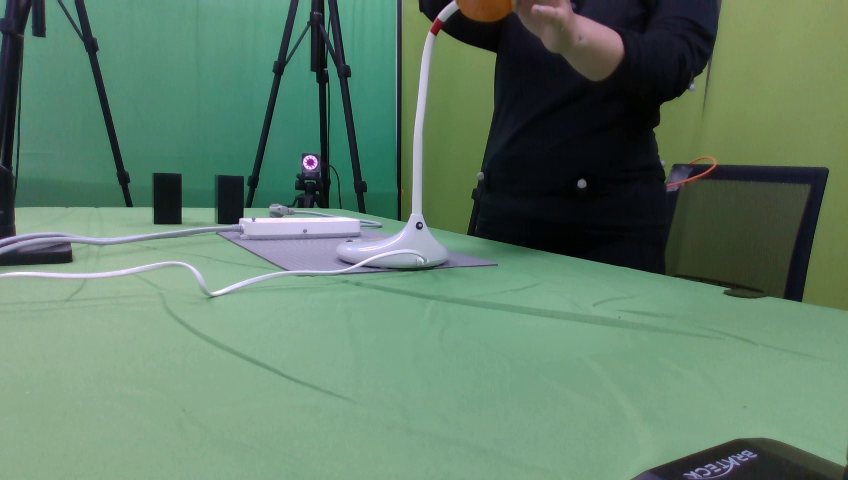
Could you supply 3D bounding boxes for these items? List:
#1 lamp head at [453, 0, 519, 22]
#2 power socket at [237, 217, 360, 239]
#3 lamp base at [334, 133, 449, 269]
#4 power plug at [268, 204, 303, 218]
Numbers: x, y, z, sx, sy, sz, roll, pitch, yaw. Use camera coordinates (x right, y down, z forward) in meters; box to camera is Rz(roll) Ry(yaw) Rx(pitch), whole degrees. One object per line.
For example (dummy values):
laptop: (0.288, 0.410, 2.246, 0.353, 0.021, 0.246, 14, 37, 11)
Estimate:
lamp head: (0.071, -0.319, 0.705, 0.112, 0.122, 0.112, 7, -3, 1)
power socket: (-0.221, -0.023, 1.080, 0.228, 0.032, 0.072, -2, 8, -33)
lamp base: (-0.034, -0.057, 0.831, 0.161, 0.180, 0.178, -2, 11, -36)
power plug: (-0.327, -0.059, 1.404, 0.073, 0.035, 0.052, 22, -14, -26)
